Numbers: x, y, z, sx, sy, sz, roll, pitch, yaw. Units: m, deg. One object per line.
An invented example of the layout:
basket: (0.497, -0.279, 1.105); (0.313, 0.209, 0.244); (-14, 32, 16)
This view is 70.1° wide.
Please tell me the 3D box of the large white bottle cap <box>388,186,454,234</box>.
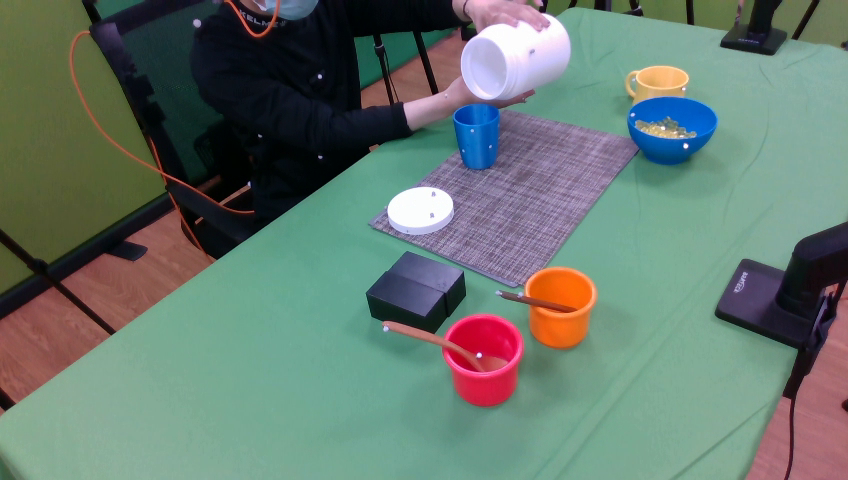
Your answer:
large white bottle cap: (-0.006, -0.052, 1.036); (0.115, 0.018, 0.114); (-4, 40, 4)

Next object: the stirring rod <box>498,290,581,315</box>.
stirring rod: (0.152, 0.081, 0.771); (0.178, 0.006, 0.014); (16, 19, -44)

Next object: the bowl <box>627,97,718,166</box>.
bowl: (0.439, -0.187, 1.087); (0.151, 0.077, 0.150); (-4, 41, 4)

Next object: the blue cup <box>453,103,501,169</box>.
blue cup: (0.099, -0.188, 1.114); (0.092, 0.100, 0.092); (-4, 39, 4)

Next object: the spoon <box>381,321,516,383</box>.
spoon: (0.033, 0.131, 0.725); (0.195, 0.021, 0.041); (29, 29, -26)

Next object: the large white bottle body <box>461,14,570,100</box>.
large white bottle body: (0.167, -0.333, 1.110); (0.129, 0.131, 0.185); (28, 42, 34)

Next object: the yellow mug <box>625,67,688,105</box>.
yellow mug: (0.465, -0.306, 1.230); (0.100, 0.064, 0.129); (-34, 46, -27)
